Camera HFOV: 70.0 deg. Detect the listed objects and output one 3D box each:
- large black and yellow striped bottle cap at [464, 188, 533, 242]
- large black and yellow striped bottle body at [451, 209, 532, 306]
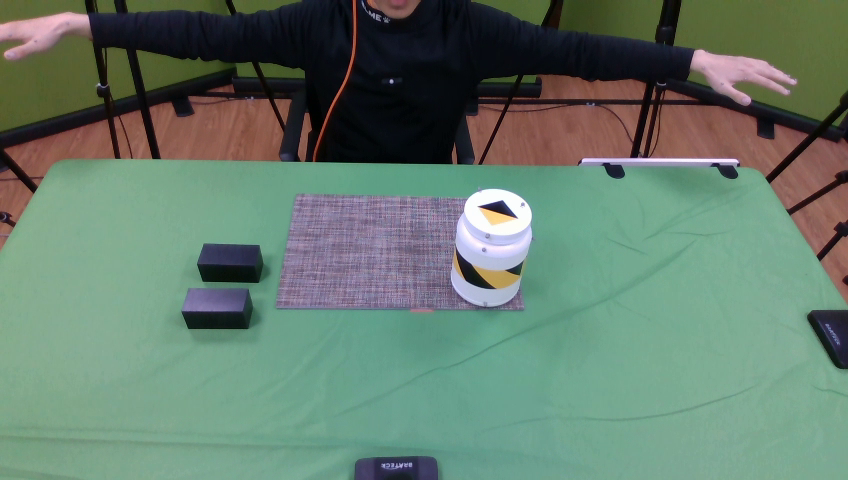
[{"bbox_3d":[0.124,-0.044,1.014,0.115,0.019,0.114,2,47,-1],"label":"large black and yellow striped bottle cap"},{"bbox_3d":[0.119,0.014,1.074,0.131,0.185,0.130,2,46,-2],"label":"large black and yellow striped bottle body"}]
